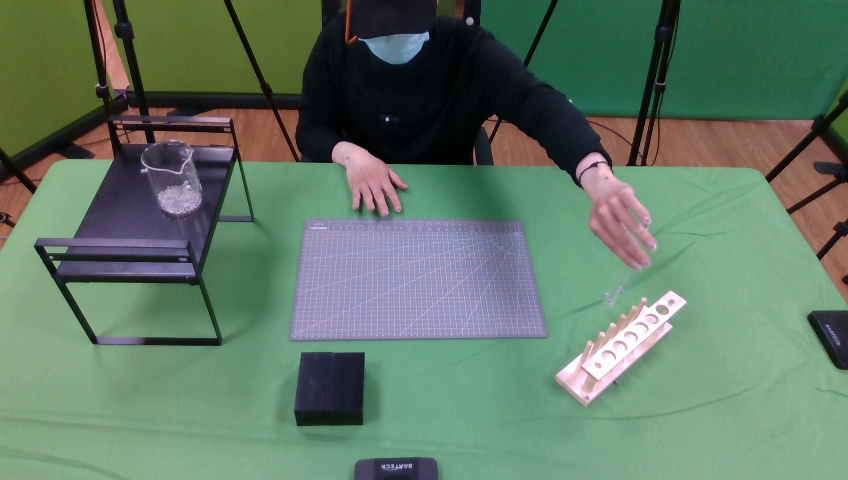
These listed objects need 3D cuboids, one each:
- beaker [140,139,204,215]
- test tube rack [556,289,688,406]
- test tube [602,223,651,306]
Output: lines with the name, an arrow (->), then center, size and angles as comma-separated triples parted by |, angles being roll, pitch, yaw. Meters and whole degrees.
beaker -> -0.391, -0.095, 0.954 | 0.074, 0.101, 0.083 | -30, 56, -27
test tube rack -> 0.332, 0.166, 1.014 | 0.242, 0.085, 0.066 | -30, 55, -28
test tube -> 0.307, 0.039, 0.921 | 0.017, 0.150, 0.017 | 13, 29, -7
